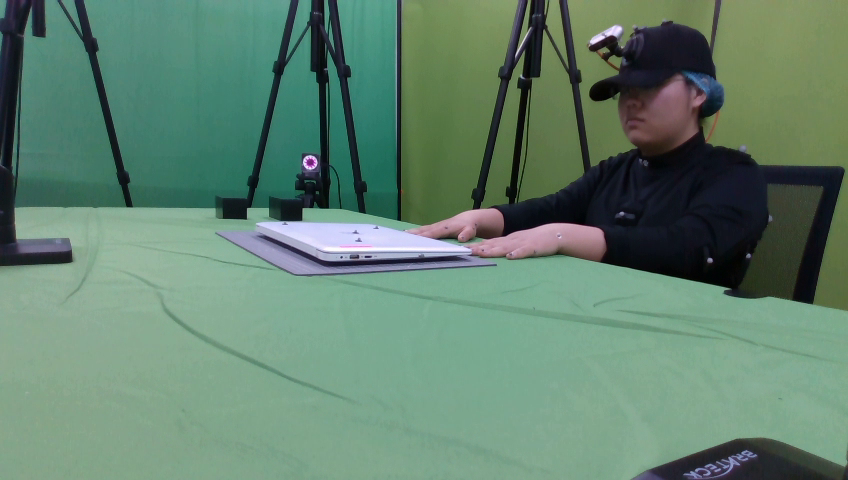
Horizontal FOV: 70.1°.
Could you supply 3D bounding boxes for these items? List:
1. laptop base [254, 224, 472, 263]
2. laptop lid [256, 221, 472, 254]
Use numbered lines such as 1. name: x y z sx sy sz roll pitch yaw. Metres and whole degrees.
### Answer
1. laptop base: -0.115 0.005 0.973 0.237 0.023 0.352 2 6 -31
2. laptop lid: -0.112 -0.007 0.972 0.243 0.013 0.355 1 7 -29
